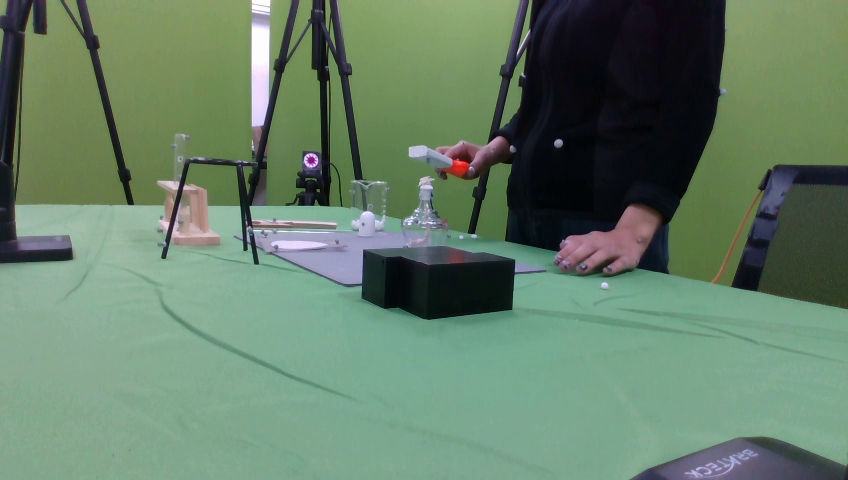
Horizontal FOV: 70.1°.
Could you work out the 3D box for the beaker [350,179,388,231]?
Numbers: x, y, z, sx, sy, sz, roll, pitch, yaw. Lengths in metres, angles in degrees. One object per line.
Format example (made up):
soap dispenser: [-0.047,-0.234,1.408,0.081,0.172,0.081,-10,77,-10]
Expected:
beaker: [-0.111,-0.070,1.204,0.074,0.100,0.084,2,8,0]

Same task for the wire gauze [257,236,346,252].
wire gauze: [-0.189,0.005,0.931,0.122,0.011,0.124,1,7,-21]

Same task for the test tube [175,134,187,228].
test tube: [-0.388,-0.094,0.964,0.017,0.150,0.017,1,2,0]

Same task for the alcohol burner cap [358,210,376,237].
alcohol burner cap: [-0.104,-0.030,1.098,0.034,0.048,0.034,3,7,0]

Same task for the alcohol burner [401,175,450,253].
alcohol burner: [0.003,-0.040,0.933,0.078,0.119,0.078,2,9,0]

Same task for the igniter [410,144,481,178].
igniter: [0.045,-0.140,1.095,0.057,0.025,0.277,-2,-3,23]

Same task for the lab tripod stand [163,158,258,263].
lab tripod stand: [-0.265,-0.041,0.802,0.148,0.131,0.148,4,7,0]

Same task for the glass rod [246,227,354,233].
glass rod: [-0.224,-0.017,1.109,0.201,0.008,0.008,1,7,-27]

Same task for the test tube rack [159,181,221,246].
test tube rack: [-0.395,-0.050,1.010,0.067,0.085,0.241,-2,8,-28]

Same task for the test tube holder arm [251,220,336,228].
test tube holder arm: [-0.253,-0.030,1.155,0.179,0.015,0.013,-1,41,-30]

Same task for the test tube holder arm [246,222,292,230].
test tube holder arm: [-0.291,-0.026,1.129,0.088,0.015,0.010,-1,41,-29]
